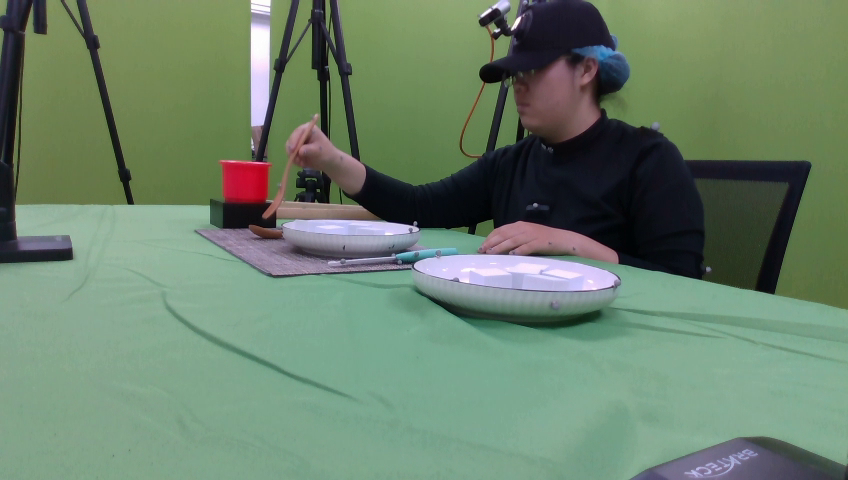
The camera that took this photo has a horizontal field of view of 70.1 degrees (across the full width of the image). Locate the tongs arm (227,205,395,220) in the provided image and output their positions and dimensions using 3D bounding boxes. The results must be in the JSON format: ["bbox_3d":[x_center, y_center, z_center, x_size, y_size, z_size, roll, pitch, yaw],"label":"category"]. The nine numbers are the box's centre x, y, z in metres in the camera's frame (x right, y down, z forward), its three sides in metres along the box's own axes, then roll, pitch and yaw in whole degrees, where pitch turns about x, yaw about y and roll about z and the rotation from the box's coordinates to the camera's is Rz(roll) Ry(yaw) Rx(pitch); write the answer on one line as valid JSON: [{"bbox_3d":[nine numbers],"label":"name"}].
[{"bbox_3d":[-0.247,-0.062,1.382,0.389,0.028,0.028,1,5,-21],"label":"tongs arm"}]

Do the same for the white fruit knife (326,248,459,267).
[{"bbox_3d":[-0.034,0.026,0.807,0.208,0.016,0.027,-4,-19,-34],"label":"white fruit knife"}]

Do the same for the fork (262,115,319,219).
[{"bbox_3d":[-0.234,-0.129,1.064,0.019,0.207,0.028,24,-1,-33],"label":"fork"}]

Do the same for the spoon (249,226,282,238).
[{"bbox_3d":[-0.198,-0.015,1.024,0.195,0.021,0.041,-2,-9,-30],"label":"spoon"}]

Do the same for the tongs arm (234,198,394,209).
[{"bbox_3d":[-0.263,-0.076,1.461,0.386,0.026,0.050,3,7,-8],"label":"tongs arm"}]

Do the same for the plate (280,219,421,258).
[{"bbox_3d":[-0.108,-0.002,0.902,0.208,0.039,0.207,3,7,0],"label":"plate"}]

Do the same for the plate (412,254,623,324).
[{"bbox_3d":[0.090,0.047,0.609,0.209,0.038,0.209,2,7,0],"label":"plate"}]
